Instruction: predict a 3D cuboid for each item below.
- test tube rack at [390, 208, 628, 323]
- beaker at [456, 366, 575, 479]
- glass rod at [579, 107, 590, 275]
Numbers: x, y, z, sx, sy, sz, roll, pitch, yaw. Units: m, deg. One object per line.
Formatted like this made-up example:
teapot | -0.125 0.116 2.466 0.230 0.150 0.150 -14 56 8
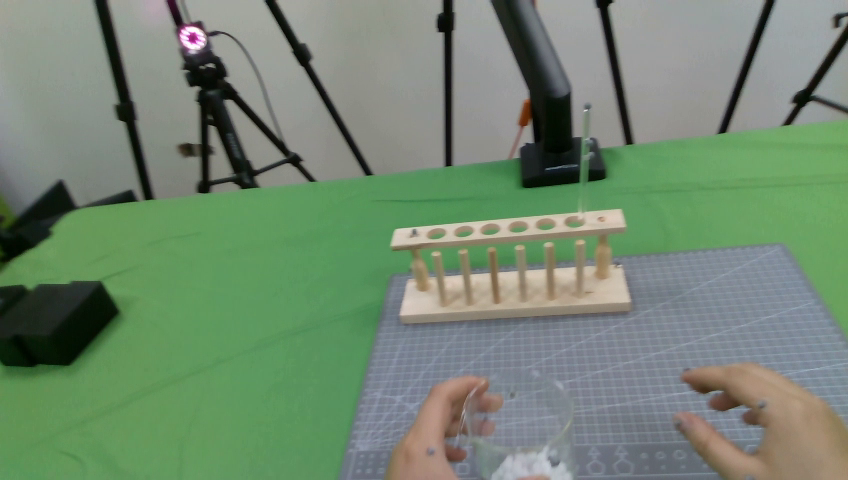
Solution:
test tube rack | 0.088 0.029 0.647 0.242 0.086 0.066 -5 34 11
beaker | 0.068 0.154 0.432 0.084 0.101 0.073 -19 31 -12
glass rod | 0.159 -0.039 0.603 0.008 0.201 0.008 -6 36 5
